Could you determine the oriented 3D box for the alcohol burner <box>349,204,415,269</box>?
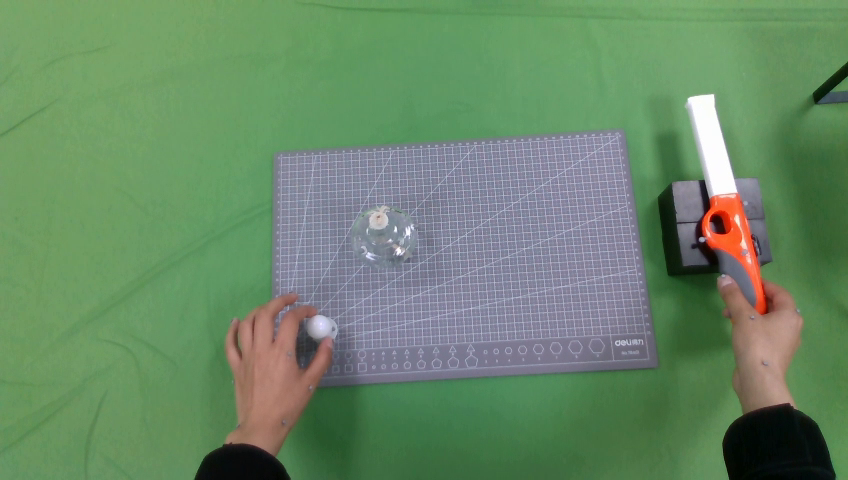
[{"bbox_3d":[-0.049,-0.009,0.691,0.078,0.119,0.077,0,74,1],"label":"alcohol burner"}]

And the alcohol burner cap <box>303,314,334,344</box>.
[{"bbox_3d":[-0.123,0.102,0.701,0.034,0.048,0.033,0,74,-1],"label":"alcohol burner cap"}]

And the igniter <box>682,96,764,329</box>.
[{"bbox_3d":[0.336,-0.038,0.685,0.057,0.025,0.274,-6,72,5],"label":"igniter"}]
